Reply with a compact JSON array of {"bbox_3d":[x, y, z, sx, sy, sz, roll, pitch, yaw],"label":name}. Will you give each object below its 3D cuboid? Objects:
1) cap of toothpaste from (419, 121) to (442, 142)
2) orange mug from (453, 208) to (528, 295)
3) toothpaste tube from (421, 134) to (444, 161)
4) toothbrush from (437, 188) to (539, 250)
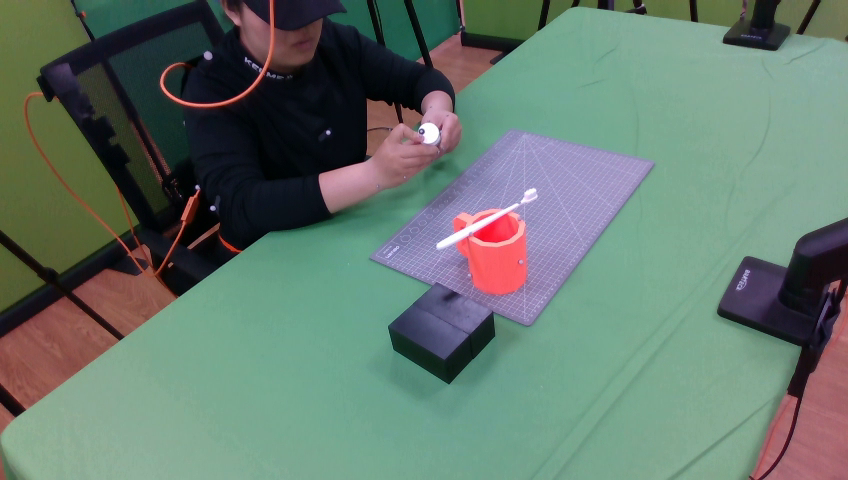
[{"bbox_3d":[0.010,-0.179,0.998,0.037,0.037,0.011,-8,-2,2],"label":"cap of toothpaste"},{"bbox_3d":[0.095,0.009,0.894,0.125,0.101,0.084,32,55,33],"label":"orange mug"},{"bbox_3d":[0.015,-0.176,1.077,0.055,0.165,0.034,-41,87,-1],"label":"toothpaste tube"},{"bbox_3d":[0.093,-0.031,0.860,0.182,0.017,0.014,-28,52,-21],"label":"toothbrush"}]
